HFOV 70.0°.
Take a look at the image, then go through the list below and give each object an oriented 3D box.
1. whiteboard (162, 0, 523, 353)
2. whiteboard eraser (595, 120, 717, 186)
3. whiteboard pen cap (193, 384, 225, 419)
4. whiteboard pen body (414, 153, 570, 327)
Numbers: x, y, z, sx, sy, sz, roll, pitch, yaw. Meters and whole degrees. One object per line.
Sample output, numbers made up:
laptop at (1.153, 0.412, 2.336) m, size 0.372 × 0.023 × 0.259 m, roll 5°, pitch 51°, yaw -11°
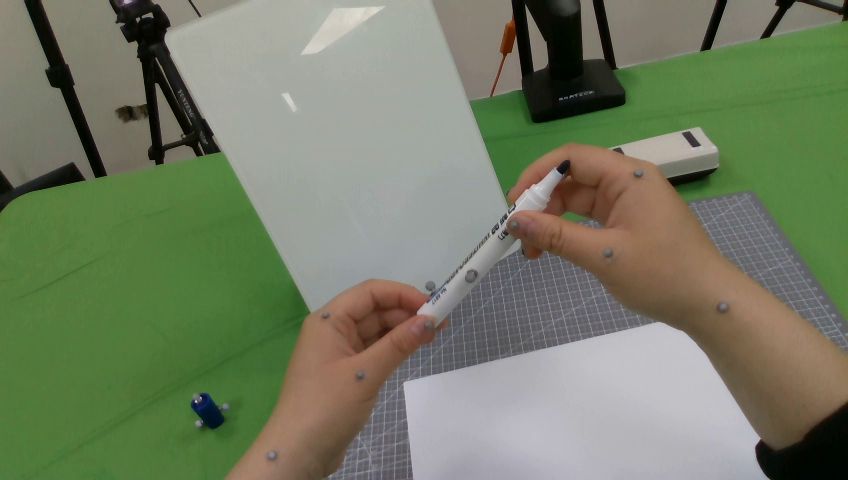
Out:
whiteboard at (-0.072, -0.092, 0.590) m, size 0.217 × 0.307 × 0.142 m, roll -29°, pitch 21°, yaw -14°
whiteboard eraser at (0.243, -0.089, 0.639) m, size 0.112 × 0.042 × 0.055 m, roll -12°, pitch 42°, yaw 4°
whiteboard pen cap at (-0.186, 0.141, 0.526) m, size 0.018 × 0.033 × 0.018 m, roll -8°, pitch 41°, yaw 7°
whiteboard pen body at (0.037, 0.003, 0.352) m, size 0.141 × 0.017 × 0.017 m, roll -51°, pitch 29°, yaw 29°
